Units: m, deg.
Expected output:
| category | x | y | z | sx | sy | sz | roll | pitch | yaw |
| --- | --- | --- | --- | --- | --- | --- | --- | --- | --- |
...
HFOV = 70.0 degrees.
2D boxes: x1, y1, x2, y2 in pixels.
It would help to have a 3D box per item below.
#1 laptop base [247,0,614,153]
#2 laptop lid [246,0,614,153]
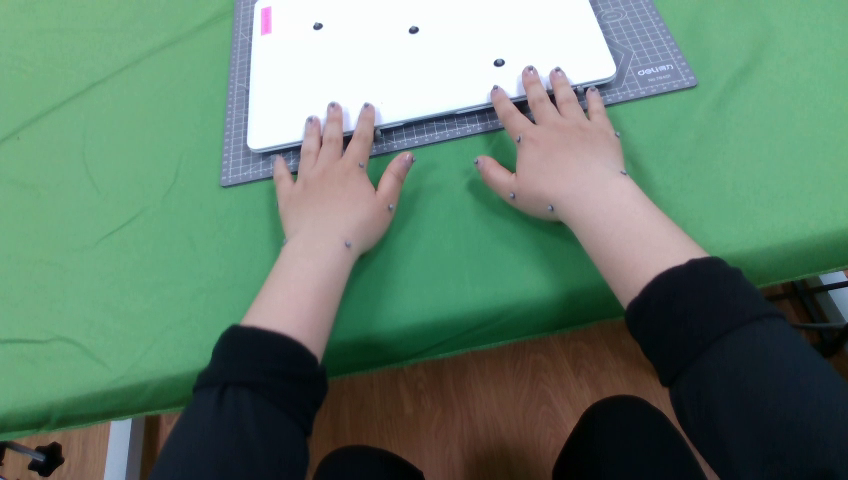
| category | x | y | z | sx | sy | sz | roll | pitch | yaw |
| --- | --- | --- | --- | --- | --- | --- | --- | --- | --- |
| laptop base | -0.008 | -0.206 | 0.632 | 0.354 | 0.023 | 0.233 | -11 | 58 | 4 |
| laptop lid | -0.010 | -0.210 | 0.621 | 0.356 | 0.013 | 0.239 | -9 | 58 | 5 |
